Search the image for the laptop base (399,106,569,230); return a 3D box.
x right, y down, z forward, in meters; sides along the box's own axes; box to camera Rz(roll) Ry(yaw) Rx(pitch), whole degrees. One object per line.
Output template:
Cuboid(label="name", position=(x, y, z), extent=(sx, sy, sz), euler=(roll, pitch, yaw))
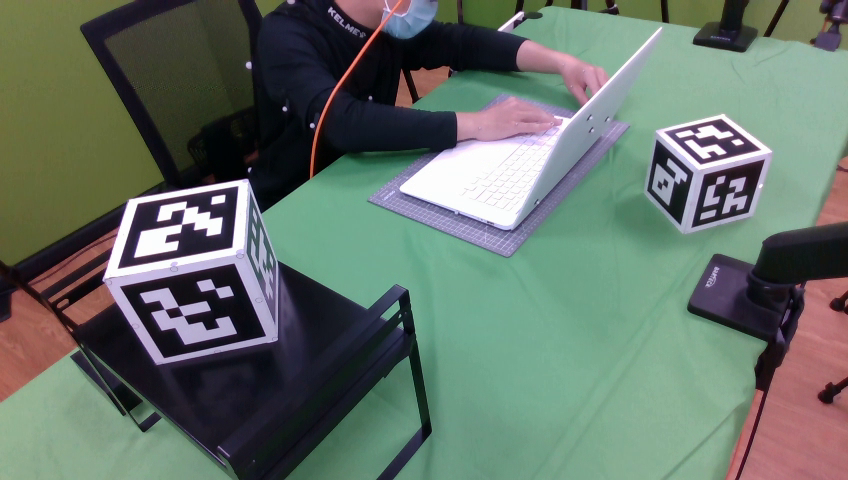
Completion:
Cuboid(label="laptop base", position=(0.149, -0.147, 1.124), extent=(0.233, 0.023, 0.355), euler=(20, 47, 32))

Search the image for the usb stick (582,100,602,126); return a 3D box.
Cuboid(label="usb stick", position=(0.329, -0.249, 1.191), extent=(0.021, 0.027, 0.059), euler=(16, 56, 33))

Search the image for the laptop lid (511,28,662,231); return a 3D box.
Cuboid(label="laptop lid", position=(0.265, -0.179, 0.973), extent=(0.013, 0.242, 0.357), euler=(36, 53, 14))
